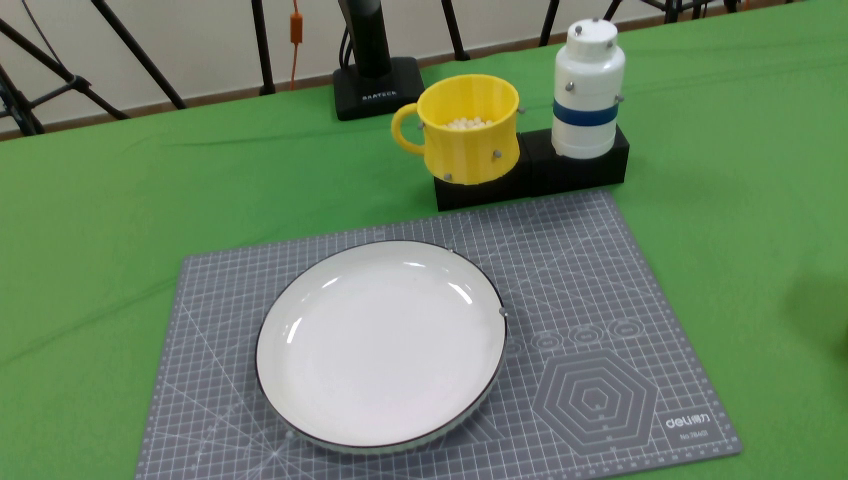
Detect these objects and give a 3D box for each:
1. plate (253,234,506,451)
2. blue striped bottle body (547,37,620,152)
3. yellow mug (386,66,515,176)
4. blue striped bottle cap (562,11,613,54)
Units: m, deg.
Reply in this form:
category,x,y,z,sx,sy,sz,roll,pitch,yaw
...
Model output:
category,x,y,z,sx,sy,sz,roll,pitch,yaw
plate,-0.035,0.081,0.506,0.207,0.039,0.205,-4,45,4
blue striped bottle body,0.151,-0.150,0.578,0.063,0.122,0.062,-4,46,5
yellow mug,0.025,-0.119,0.606,0.130,0.064,0.099,0,46,10
blue striped bottle cap,0.146,-0.186,0.541,0.044,0.021,0.044,-6,46,7
